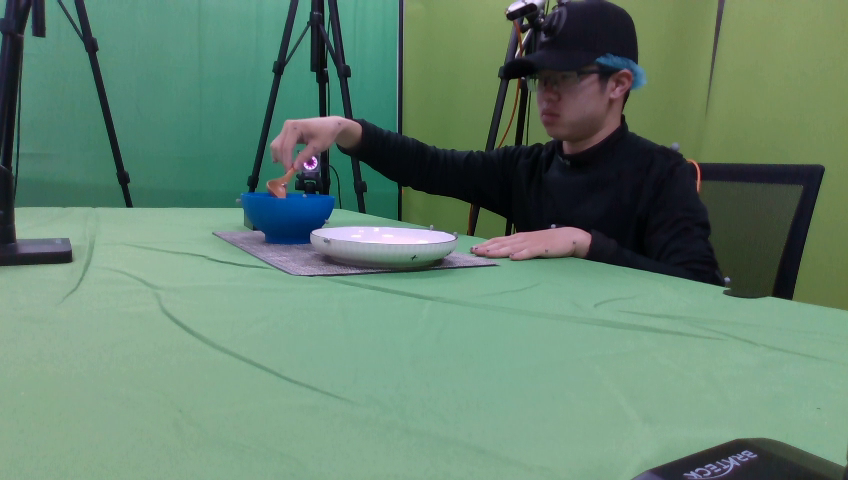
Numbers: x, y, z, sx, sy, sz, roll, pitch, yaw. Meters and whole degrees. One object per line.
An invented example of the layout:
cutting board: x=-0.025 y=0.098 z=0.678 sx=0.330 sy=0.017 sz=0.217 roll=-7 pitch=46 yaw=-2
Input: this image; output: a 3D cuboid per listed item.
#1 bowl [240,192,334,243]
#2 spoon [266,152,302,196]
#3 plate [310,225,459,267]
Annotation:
bowl: x=-0.223 y=-0.037 z=0.992 sx=0.151 sy=0.077 sz=0.151 roll=2 pitch=7 yaw=0
spoon: x=-0.236 y=-0.115 z=1.056 sx=0.021 sy=0.042 sz=0.193 roll=-34 pitch=21 yaw=23
plate: x=-0.055 y=0.008 z=0.851 sx=0.208 sy=0.039 sz=0.207 roll=2 pitch=7 yaw=0
